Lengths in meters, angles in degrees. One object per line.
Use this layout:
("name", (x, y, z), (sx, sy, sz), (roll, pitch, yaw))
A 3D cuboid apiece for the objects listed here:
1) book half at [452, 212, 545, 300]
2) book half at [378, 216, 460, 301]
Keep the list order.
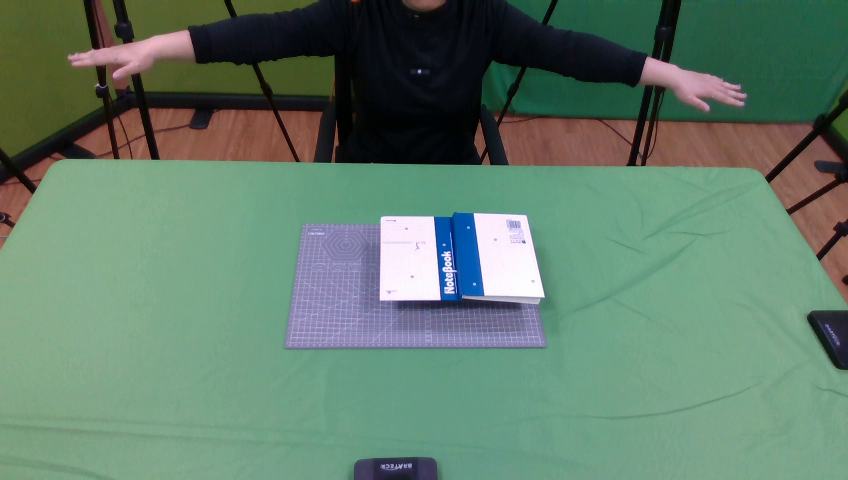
("book half", (0.132, 0.026, 1.116), (0.149, 0.016, 0.209), (2, 45, -5))
("book half", (-0.011, 0.029, 1.111), (0.143, 0.007, 0.208), (0, 46, -4))
